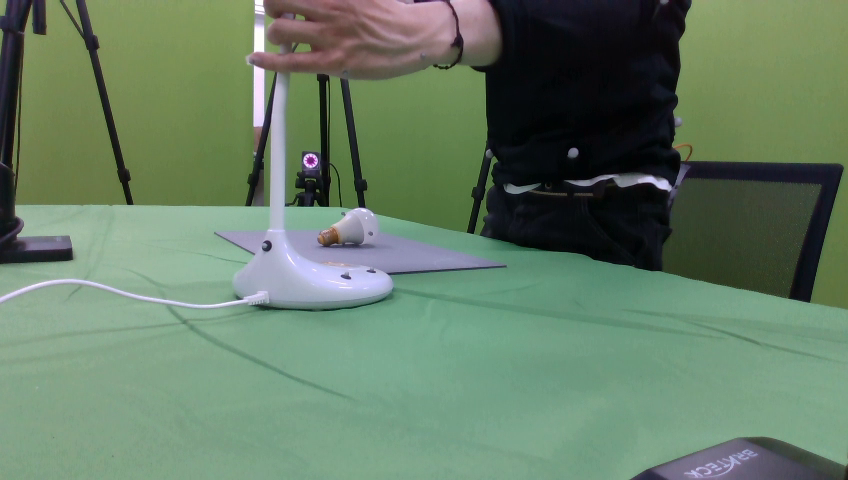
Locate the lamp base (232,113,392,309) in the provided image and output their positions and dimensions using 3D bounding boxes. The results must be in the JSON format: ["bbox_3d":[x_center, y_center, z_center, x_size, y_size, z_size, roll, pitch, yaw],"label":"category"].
[{"bbox_3d":[-0.113,-0.032,0.595,0.160,0.180,0.179,4,10,17],"label":"lamp base"}]

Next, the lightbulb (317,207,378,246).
[{"bbox_3d":[-0.123,-0.016,0.968,0.108,0.059,0.059,-21,20,-33],"label":"lightbulb"}]
